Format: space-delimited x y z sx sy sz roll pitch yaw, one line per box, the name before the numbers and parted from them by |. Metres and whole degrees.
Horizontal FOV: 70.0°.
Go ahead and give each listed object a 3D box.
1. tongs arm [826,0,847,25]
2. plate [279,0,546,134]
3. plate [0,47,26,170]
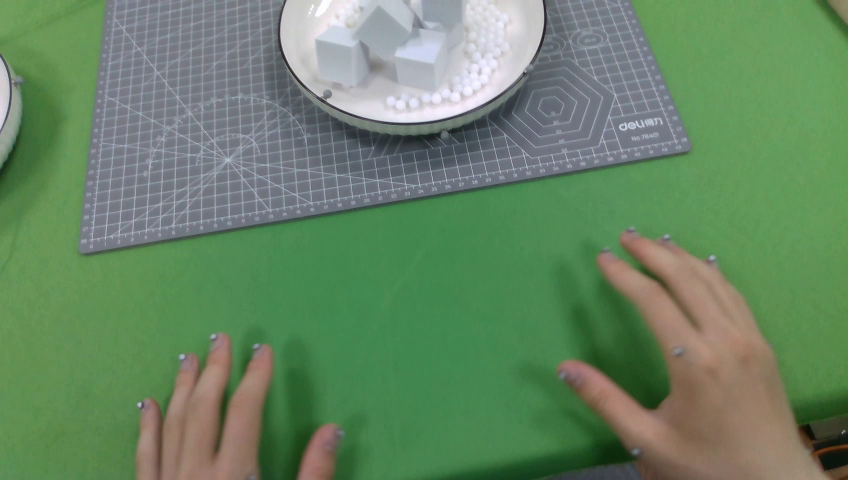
tongs arm | 0.345 -0.190 0.478 0.028 0.028 0.384 -18 64 -6
plate | -0.009 -0.167 0.483 0.209 0.038 0.207 -2 64 4
plate | -0.411 -0.079 0.473 0.207 0.039 0.206 -2 64 4
